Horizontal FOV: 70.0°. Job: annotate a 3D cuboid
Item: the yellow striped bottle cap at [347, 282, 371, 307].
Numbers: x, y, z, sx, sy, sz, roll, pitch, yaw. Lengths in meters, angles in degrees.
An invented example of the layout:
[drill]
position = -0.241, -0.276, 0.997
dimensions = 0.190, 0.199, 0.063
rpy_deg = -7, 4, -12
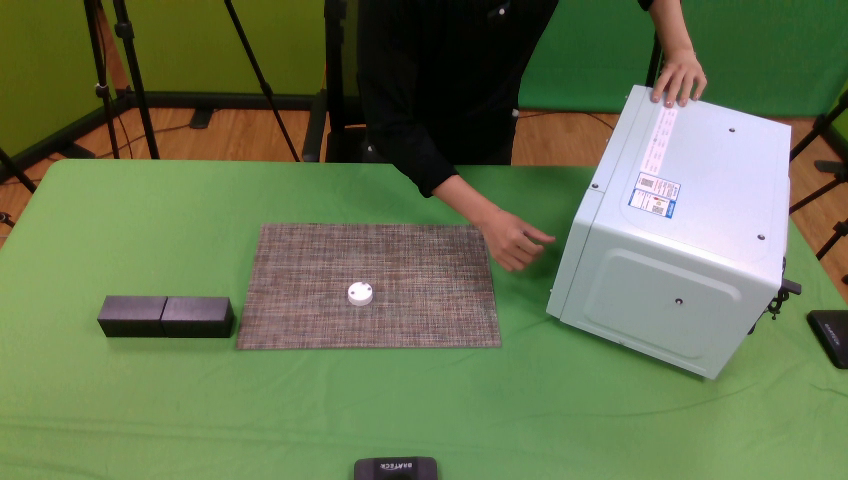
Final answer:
[yellow striped bottle cap]
position = -0.117, 0.098, 1.093
dimensions = 0.044, 0.019, 0.044
rpy_deg = 3, 45, -3

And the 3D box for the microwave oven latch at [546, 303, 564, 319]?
[microwave oven latch]
position = 0.242, 0.102, 1.081
dimensions = 0.030, 0.029, 0.079
rpy_deg = 21, 48, 17

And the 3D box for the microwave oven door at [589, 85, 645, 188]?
[microwave oven door]
position = 0.341, -0.107, 1.149
dimensions = 0.039, 0.245, 0.354
rpy_deg = 20, 48, 15

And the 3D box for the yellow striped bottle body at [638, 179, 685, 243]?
[yellow striped bottle body]
position = 0.442, -0.057, 1.123
dimensions = 0.063, 0.121, 0.062
rpy_deg = -1, 47, 1

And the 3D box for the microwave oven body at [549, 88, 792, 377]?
[microwave oven body]
position = 0.456, -0.028, 1.088
dimensions = 0.325, 0.261, 0.440
rpy_deg = 20, 47, 16
